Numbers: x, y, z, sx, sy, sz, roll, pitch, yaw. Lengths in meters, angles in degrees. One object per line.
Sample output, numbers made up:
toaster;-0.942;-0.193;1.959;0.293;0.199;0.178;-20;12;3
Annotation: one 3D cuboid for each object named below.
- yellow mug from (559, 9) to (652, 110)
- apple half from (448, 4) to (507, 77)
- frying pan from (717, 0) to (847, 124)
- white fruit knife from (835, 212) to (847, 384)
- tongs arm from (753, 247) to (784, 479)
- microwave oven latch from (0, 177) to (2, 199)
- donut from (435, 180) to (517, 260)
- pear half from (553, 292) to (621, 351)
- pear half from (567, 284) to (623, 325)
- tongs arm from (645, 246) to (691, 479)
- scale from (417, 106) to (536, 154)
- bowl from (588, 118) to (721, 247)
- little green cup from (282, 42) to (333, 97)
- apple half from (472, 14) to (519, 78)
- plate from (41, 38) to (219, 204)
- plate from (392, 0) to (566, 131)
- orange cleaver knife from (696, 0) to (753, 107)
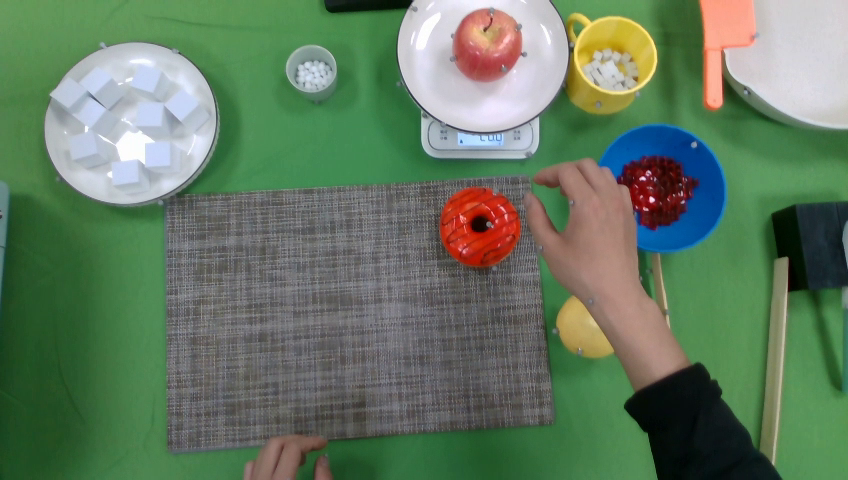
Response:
yellow mug;0.214;-0.233;0.754;0.100;0.064;0.130;-36;83;-6
apple half;0.057;-0.238;0.710;0.053;0.075;0.080;35;84;8
frying pan;0.542;-0.192;0.737;0.307;0.103;0.485;-31;75;-5
white fruit knife;0.491;0.071;0.708;0.016;0.027;0.207;-6;96;-2
tongs arm;0.395;0.197;0.712;0.028;0.028;0.386;11;82;-7
microwave oven latch;-0.512;-0.040;0.702;0.030;0.029;0.079;1;82;-2
donut;0.061;-0.024;0.726;0.099;0.048;0.098;0;82;1
pear half;0.182;0.097;0.681;0.076;0.110;0.056;27;82;7
pear half;0.201;0.069;0.696;0.070;0.088;0.031;26;82;6
tongs arm;0.309;0.195;0.707;0.051;0.026;0.383;-4;83;-6
scale;0.066;-0.209;0.765;0.149;0.031;0.200;0;82;-1
bowl;0.262;-0.061;0.723;0.151;0.077;0.151;0;82;-1
little green cup;-0.142;-0.210;0.757;0.061;0.039;0.061;0;81;-1
apple half;0.089;-0.217;0.706;0.032;0.081;0.081;35;82;8
plate;-0.353;-0.143;0.741;0.208;0.039;0.207;0;81;-1
plate;0.066;-0.229;0.735;0.209;0.038;0.208;0;81;-2
orange cleaver knife;0.354;-0.262;0.725;0.077;0.012;0.210;1;82;1
